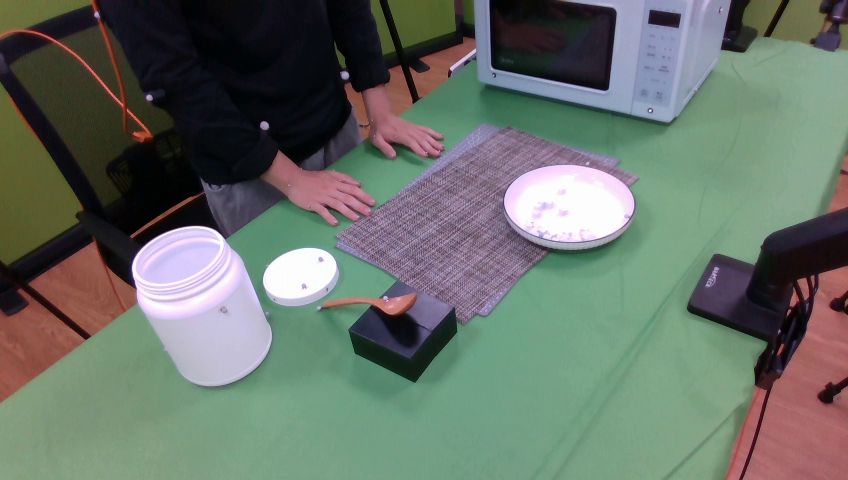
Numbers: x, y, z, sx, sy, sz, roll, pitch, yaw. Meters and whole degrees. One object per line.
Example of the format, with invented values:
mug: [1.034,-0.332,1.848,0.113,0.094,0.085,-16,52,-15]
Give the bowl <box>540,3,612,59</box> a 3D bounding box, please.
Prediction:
bowl: [0.323,-0.441,1.298,0.151,0.077,0.150,-4,42,4]

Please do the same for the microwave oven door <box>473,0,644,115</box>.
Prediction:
microwave oven door: [0.257,-0.396,1.199,0.353,0.245,0.039,21,48,29]

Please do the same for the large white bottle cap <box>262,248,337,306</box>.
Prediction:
large white bottle cap: [-0.192,0.056,0.934,0.115,0.018,0.114,-4,41,4]

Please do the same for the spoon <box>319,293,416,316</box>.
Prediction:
spoon: [-0.082,0.086,0.826,0.192,0.022,0.041,-3,36,41]

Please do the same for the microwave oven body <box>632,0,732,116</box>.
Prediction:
microwave oven body: [0.377,-0.462,1.267,0.438,0.261,0.327,21,48,30]

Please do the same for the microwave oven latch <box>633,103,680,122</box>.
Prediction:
microwave oven latch: [0.444,-0.249,1.157,0.078,0.029,0.030,21,48,30]

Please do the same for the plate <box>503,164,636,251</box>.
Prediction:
plate: [0.232,-0.051,0.976,0.209,0.038,0.208,-3,41,3]

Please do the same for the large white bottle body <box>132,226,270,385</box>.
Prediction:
large white bottle body: [-0.286,0.085,0.784,0.130,0.185,0.130,-4,41,4]
